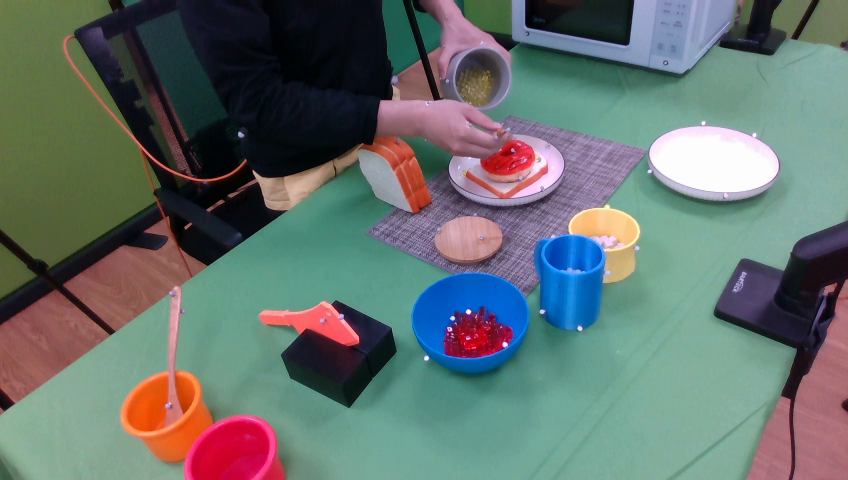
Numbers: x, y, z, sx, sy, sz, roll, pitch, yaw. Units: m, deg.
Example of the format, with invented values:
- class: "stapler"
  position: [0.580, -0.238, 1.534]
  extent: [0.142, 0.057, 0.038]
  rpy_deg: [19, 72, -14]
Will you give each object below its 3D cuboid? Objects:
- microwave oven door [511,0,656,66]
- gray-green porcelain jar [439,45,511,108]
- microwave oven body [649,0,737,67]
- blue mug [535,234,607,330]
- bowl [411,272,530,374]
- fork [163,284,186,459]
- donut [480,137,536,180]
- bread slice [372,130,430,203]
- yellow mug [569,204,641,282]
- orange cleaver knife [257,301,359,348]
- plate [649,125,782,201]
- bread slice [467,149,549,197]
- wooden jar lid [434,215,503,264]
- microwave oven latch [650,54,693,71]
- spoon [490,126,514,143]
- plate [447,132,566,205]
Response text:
- class: "microwave oven door"
  position: [0.351, -0.539, 1.348]
  extent: [0.353, 0.245, 0.039]
  rpy_deg: [24, 50, 31]
- class: "gray-green porcelain jar"
  position: [0.087, -0.290, 1.084]
  extent: [0.106, 0.106, 0.126]
  rpy_deg: [-15, 16, -8]
- class: "microwave oven body"
  position: [0.475, -0.602, 1.411]
  extent: [0.438, 0.261, 0.327]
  rpy_deg: [23, 50, 32]
- class: "blue mug"
  position: [0.191, 0.048, 0.824]
  extent: [0.082, 0.106, 0.115]
  rpy_deg: [-26, 44, -20]
- class: "bowl"
  position: [0.062, 0.120, 0.780]
  extent: [0.151, 0.077, 0.150]
  rpy_deg: [-4, 40, 4]
- class: "fork"
  position: [-0.302, 0.157, 0.733]
  extent: [0.028, 0.019, 0.207]
  rpy_deg: [-3, 84, 15]
- class: "donut"
  position: [0.146, -0.144, 1.056]
  extent: [0.099, 0.048, 0.098]
  rpy_deg: [-6, 43, 6]
- class: "bread slice"
  position: [-0.042, -0.127, 1.039]
  extent: [0.106, 0.135, 0.018]
  rpy_deg: [30, 62, 33]
- class: "yellow mug"
  position: [0.268, -0.005, 0.904]
  extent: [0.099, 0.064, 0.130]
  rpy_deg: [7, 41, 15]
- class: "orange cleaver knife"
  position: [-0.160, 0.115, 0.813]
  extent: [0.210, 0.077, 0.012]
  rpy_deg: [-9, 29, 48]
- class: "plate"
  position: [0.493, -0.127, 1.036]
  extent: [0.207, 0.039, 0.206]
  rpy_deg: [-4, 41, 4]
- class: "bread slice"
  position: [0.156, -0.129, 1.084]
  extent: [0.132, 0.019, 0.104]
  rpy_deg: [-33, 47, -24]
- class: "wooden jar lid"
  position: [0.070, 0.001, 0.956]
  extent: [0.108, 0.021, 0.108]
  rpy_deg: [-4, 40, 4]
- class: "microwave oven latch"
  position: [0.531, -0.386, 1.301]
  extent: [0.078, 0.029, 0.030]
  rpy_deg: [26, 51, 33]
- class: "spoon"
  position: [0.120, -0.167, 0.941]
  extent: [0.041, 0.021, 0.194]
  rpy_deg: [-7, 3, 9]
- class: "plate"
  position: [0.146, -0.124, 1.076]
  extent: [0.209, 0.038, 0.208]
  rpy_deg: [-4, 41, 4]
